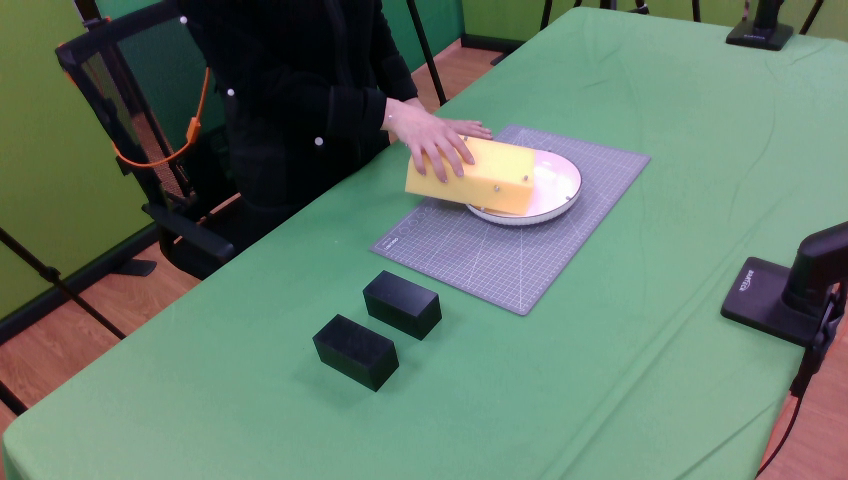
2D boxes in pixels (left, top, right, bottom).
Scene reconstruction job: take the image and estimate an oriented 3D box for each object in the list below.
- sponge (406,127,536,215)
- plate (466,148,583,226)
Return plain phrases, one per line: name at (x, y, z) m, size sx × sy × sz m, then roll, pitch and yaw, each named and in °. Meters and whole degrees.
sponge at (0.082, -0.118, 1.024) m, size 0.207 × 0.061 × 0.118 m, roll 11°, pitch 42°, yaw 0°
plate at (0.167, -0.089, 1.043) m, size 0.209 × 0.038 × 0.208 m, roll -5°, pitch 40°, yaw 5°
